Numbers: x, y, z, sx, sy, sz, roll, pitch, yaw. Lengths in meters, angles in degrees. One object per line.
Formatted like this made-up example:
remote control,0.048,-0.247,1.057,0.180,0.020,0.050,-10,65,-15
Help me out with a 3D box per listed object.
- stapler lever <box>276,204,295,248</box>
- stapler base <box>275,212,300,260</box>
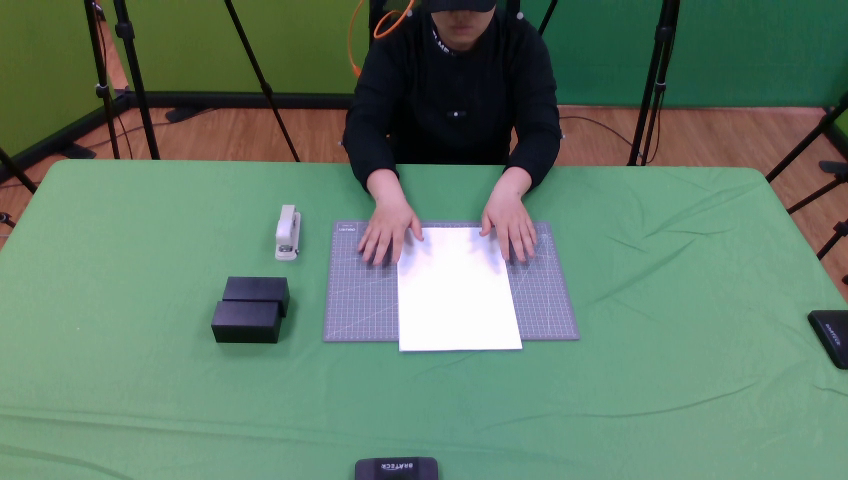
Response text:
stapler lever,-0.268,-0.034,1.174,0.027,0.040,0.117,0,45,-7
stapler base,-0.269,-0.016,1.191,0.041,0.024,0.129,0,44,-7
